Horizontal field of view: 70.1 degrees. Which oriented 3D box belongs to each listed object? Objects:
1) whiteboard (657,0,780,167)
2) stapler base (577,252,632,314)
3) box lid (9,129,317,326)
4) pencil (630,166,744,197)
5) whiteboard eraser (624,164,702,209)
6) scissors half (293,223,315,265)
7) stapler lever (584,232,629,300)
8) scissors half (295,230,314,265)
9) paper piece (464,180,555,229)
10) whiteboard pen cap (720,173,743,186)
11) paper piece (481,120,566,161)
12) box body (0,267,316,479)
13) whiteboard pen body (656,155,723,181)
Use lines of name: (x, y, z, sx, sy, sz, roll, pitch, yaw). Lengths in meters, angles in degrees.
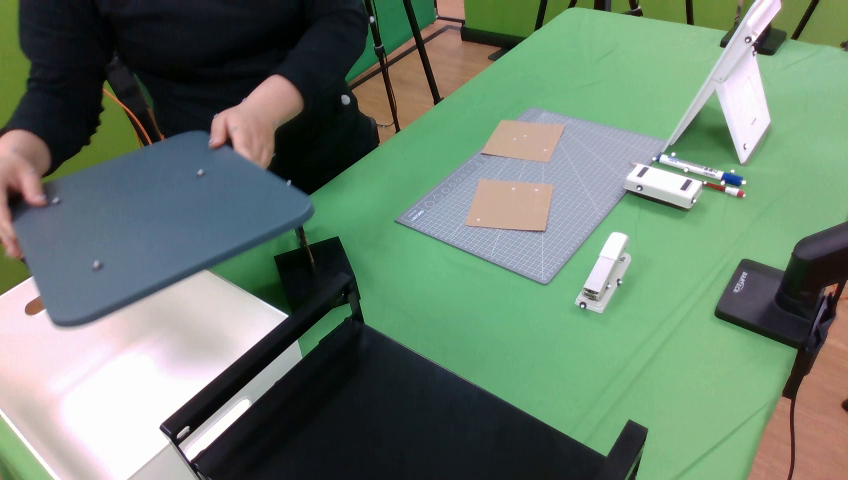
whiteboard: (0.571, -0.272, 1.038, 0.143, 0.306, 0.218, 37, 54, 17)
stapler base: (0.264, 0.051, 0.875, 0.041, 0.024, 0.131, 16, 47, 30)
box lid: (-0.311, -0.041, 0.691, 0.264, 0.015, 0.368, -29, 37, -27)
pencil: (0.447, -0.103, 1.039, 0.192, 0.012, 0.012, 21, 48, 30)
whiteboard eraser: (0.396, -0.087, 1.003, 0.112, 0.042, 0.056, 22, 48, 31)
scissors half: (-0.191, -0.010, 0.945, 0.013, 0.040, 0.173, -18, 39, -14)
stapler lever: (0.260, 0.034, 0.858, 0.026, 0.040, 0.118, 16, 46, 30)
scissors half: (-0.188, 0.007, 0.955, 0.013, 0.040, 0.174, -23, 23, -11)
paper piece: (0.149, -0.062, 1.034, 0.137, 0.009, 0.136, 4, 37, 17)
whiteboard pen cap: (0.519, -0.103, 1.020, 0.033, 0.018, 0.018, 23, 49, 30)
paper piece: (0.197, -0.199, 1.188, 0.135, 0.004, 0.135, 11, 44, 21)
box body: (-0.339, 0.161, 0.728, 0.361, 0.161, 0.255, 23, 49, 31)
whiteboard pen body: (0.475, -0.123, 1.052, 0.139, 0.017, 0.017, 24, 50, 32)
